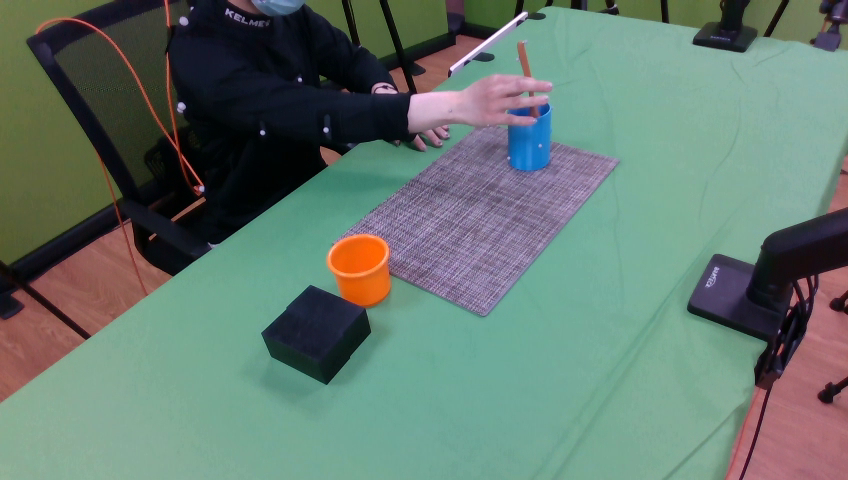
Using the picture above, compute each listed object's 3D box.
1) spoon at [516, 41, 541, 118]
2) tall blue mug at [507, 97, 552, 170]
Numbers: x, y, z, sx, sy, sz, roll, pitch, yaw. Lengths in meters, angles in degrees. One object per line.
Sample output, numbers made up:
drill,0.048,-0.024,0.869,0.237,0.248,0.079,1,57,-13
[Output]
spoon,0.183,-0.251,1.040,0.041,0.195,0.021,8,43,35
tall blue mug,0.179,-0.198,1.101,0.078,0.108,0.106,-36,49,-28
